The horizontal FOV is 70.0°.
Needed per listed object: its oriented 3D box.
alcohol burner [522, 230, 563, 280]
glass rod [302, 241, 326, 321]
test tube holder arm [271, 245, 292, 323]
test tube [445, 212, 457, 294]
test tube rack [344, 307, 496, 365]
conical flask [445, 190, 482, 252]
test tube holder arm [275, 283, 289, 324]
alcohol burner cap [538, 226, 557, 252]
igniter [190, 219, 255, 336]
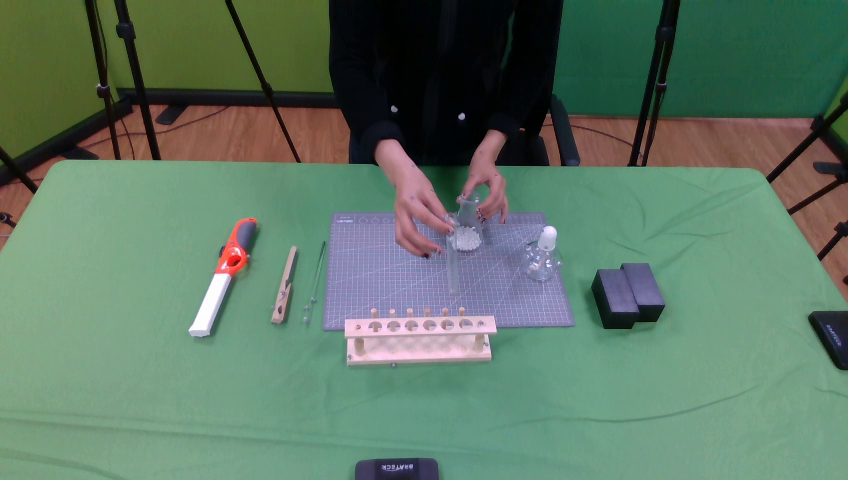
[{"bbox_3d":[0.224,0.020,1.131,0.078,0.119,0.077,3,47,-3],"label":"alcohol burner"},{"bbox_3d":[-0.203,0.071,1.124,0.008,0.008,0.198,5,44,1],"label":"glass rod"},{"bbox_3d":[-0.259,0.076,1.106,0.013,0.015,0.177,28,39,-28],"label":"test tube holder arm"},{"bbox_3d":[0.041,0.022,0.916,0.017,0.151,0.017,-2,36,2],"label":"test tube"},{"bbox_3d":[-0.009,0.154,1.007,0.242,0.085,0.066,-1,46,-5],"label":"test tube rack"},{"bbox_3d":[0.082,-0.041,1.172,0.075,0.122,0.075,2,46,-2],"label":"conical flask"},{"bbox_3d":[-0.254,0.110,1.077,0.010,0.015,0.087,29,38,-27],"label":"test tube holder arm"},{"bbox_3d":[0.226,-0.004,1.104,0.034,0.048,0.033,-1,50,1],"label":"alcohol burner cap"},{"bbox_3d":[-0.364,0.058,1.110,0.057,0.025,0.275,-1,45,8],"label":"igniter"}]
